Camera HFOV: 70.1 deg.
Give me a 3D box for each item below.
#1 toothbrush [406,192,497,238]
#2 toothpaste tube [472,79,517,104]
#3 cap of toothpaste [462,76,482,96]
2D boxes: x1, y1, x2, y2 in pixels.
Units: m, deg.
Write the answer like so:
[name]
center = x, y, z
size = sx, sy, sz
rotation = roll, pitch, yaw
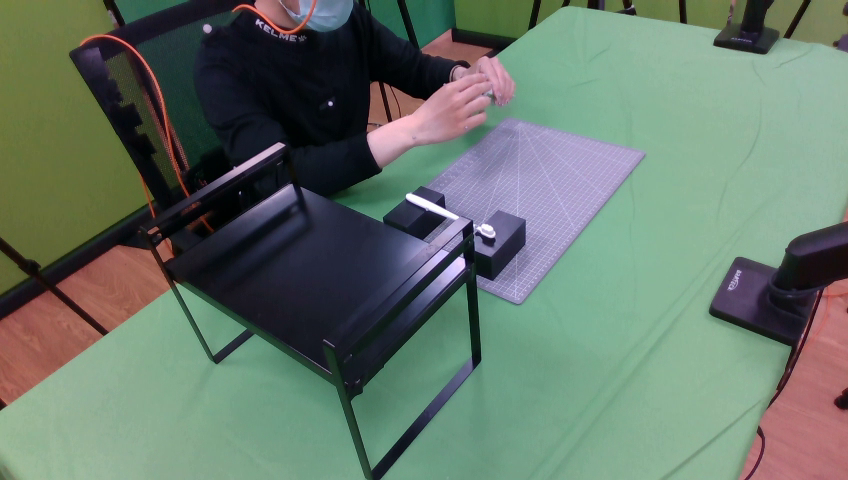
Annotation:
[toothbrush]
center = 0.038, -0.042, 0.937
size = 0.180, 0.017, 0.014
rotation = 26, 66, 35
[toothpaste tube]
center = 0.125, -0.279, 1.143
size = 0.055, 0.034, 0.166
rotation = -11, -1, 27
[cap of toothpaste]
center = 0.086, -0.273, 1.073
size = 0.037, 0.037, 0.011
rotation = 13, 10, 21
